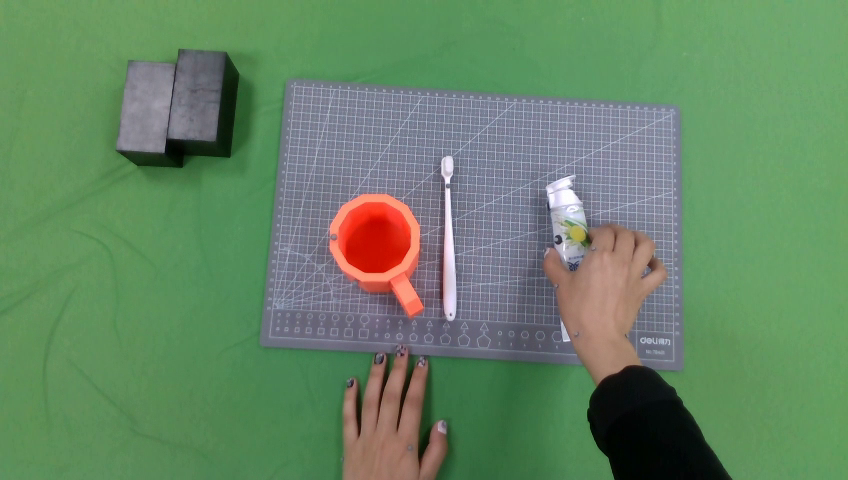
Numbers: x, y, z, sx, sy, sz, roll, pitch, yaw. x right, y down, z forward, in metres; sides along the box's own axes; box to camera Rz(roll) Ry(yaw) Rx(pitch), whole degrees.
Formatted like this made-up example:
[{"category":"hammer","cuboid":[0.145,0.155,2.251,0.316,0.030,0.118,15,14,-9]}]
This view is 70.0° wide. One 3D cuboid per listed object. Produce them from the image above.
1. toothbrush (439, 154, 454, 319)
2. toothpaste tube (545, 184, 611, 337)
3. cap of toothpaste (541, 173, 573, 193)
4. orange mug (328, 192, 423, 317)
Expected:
[{"category":"toothbrush","cuboid":[0.025,-0.006,0.656,0.014,0.016,0.181,2,81,-18]},{"category":"toothpaste tube","cuboid":[0.159,0.019,0.651,0.055,0.034,0.165,-11,88,1]},{"category":"cap of toothpaste","cuboid":[0.145,-0.061,0.654,0.037,0.037,0.011,-23,82,-6]},{"category":"orange mug","cuboid":[-0.040,0.019,0.609,0.083,0.101,0.125,-30,78,-7]}]
